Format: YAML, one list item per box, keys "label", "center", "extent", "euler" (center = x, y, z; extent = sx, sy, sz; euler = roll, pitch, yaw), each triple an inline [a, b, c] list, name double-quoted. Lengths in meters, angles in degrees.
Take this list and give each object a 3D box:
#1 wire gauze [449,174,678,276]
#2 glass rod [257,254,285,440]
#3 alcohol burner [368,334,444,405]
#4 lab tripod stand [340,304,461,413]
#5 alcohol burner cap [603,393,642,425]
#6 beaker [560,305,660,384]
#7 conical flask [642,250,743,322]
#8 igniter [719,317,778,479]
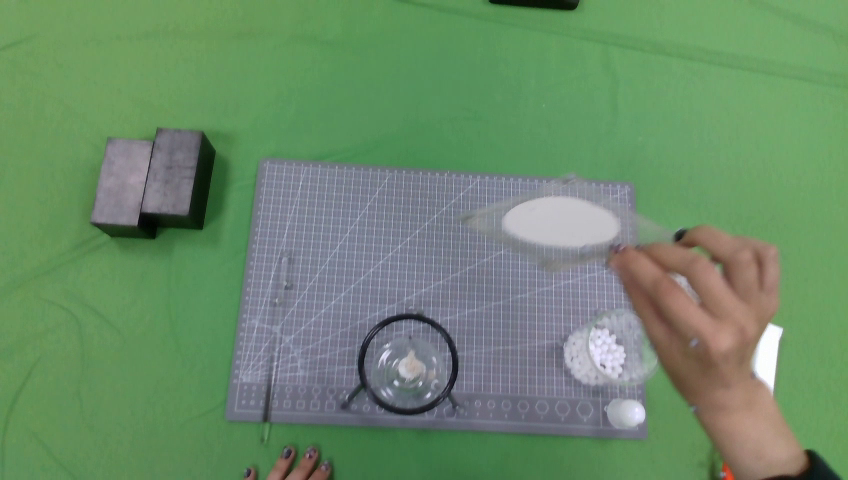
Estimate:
- label: "wire gauze"
  center: [0.102, -0.014, 0.458]
  extent: [0.125, 0.011, 0.120]
  euler: [-17, 33, -25]
- label: "glass rod"
  center: [-0.164, 0.112, 0.655]
  extent: [0.008, 0.008, 0.198]
  euler: [5, 77, -3]
- label: "alcohol burner"
  center: [-0.018, 0.130, 0.605]
  extent: [0.078, 0.119, 0.077]
  euler: [1, 73, -2]
- label: "lab tripod stand"
  center: [-0.021, 0.127, 0.596]
  extent: [0.148, 0.132, 0.147]
  euler: [1, 76, -3]
- label: "alcohol burner cap"
  center: [0.214, 0.180, 0.644]
  extent: [0.034, 0.048, 0.033]
  euler: [1, 74, -3]
- label: "beaker"
  center: [0.190, 0.112, 0.632]
  extent: [0.084, 0.100, 0.073]
  euler: [-20, 76, -9]
- label: "conical flask"
  center: [0.291, 0.043, 0.648]
  extent: [0.075, 0.122, 0.075]
  euler: [1, 74, -3]
- label: "igniter"
  center: [0.349, 0.218, 0.653]
  extent: [0.057, 0.025, 0.275]
  euler: [19, 74, -9]
